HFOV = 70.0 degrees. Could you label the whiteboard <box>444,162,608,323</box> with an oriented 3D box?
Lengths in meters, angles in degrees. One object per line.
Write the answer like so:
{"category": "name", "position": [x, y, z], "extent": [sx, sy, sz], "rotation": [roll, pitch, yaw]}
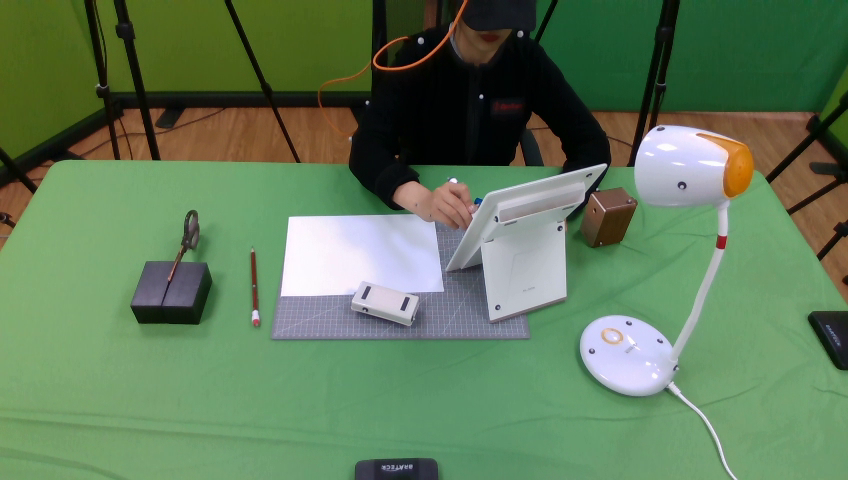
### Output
{"category": "whiteboard", "position": [0.186, 0.025, 1.029], "extent": [0.217, 0.306, 0.143], "rotation": [-14, 68, -17]}

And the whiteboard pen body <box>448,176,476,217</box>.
{"category": "whiteboard pen body", "position": [0.075, -0.067, 1.065], "extent": [0.017, 0.017, 0.140], "rotation": [-14, 46, -17]}

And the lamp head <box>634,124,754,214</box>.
{"category": "lamp head", "position": [0.351, -0.089, 0.776], "extent": [0.112, 0.113, 0.122], "rotation": [-30, 30, -28]}

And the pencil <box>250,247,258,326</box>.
{"category": "pencil", "position": [-0.311, 0.079, 1.107], "extent": [0.012, 0.012, 0.192], "rotation": [-7, 46, -11]}

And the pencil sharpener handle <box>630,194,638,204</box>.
{"category": "pencil sharpener handle", "position": [0.417, -0.068, 1.215], "extent": [0.031, 0.068, 0.036], "rotation": [-11, 60, -14]}

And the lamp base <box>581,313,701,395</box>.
{"category": "lamp base", "position": [0.361, 0.144, 0.973], "extent": [0.178, 0.181, 0.160], "rotation": [34, 53, 23]}

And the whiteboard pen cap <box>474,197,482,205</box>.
{"category": "whiteboard pen cap", "position": [0.123, -0.079, 1.286], "extent": [0.033, 0.018, 0.018], "rotation": [25, 50, 23]}

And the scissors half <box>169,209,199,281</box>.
{"category": "scissors half", "position": [-0.438, 0.007, 1.098], "extent": [0.013, 0.040, 0.174], "rotation": [3, 48, -3]}

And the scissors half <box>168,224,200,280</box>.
{"category": "scissors half", "position": [-0.440, 0.023, 1.111], "extent": [0.013, 0.040, 0.174], "rotation": [7, 29, -6]}

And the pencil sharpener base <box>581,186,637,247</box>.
{"category": "pencil sharpener base", "position": [0.369, -0.047, 1.209], "extent": [0.077, 0.107, 0.061], "rotation": [-11, 47, -14]}

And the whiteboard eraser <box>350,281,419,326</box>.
{"category": "whiteboard eraser", "position": [-0.069, 0.113, 1.065], "extent": [0.112, 0.042, 0.055], "rotation": [14, 46, 9]}
